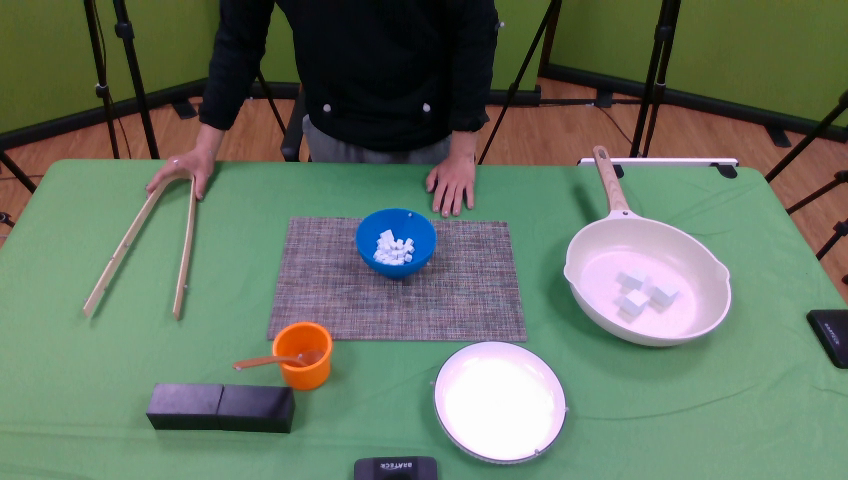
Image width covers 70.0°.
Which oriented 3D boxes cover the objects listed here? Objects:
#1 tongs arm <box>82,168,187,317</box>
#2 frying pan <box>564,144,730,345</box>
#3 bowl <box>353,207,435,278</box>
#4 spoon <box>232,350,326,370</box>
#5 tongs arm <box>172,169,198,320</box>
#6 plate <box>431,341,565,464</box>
[{"bbox_3d":[-0.540,-0.010,1.155,0.051,0.026,0.382,5,45,-1],"label":"tongs arm"},{"bbox_3d":[0.396,-0.008,1.179,0.307,0.103,0.484,0,55,-5],"label":"frying pan"},{"bbox_3d":[-0.056,0.018,1.132,0.151,0.077,0.150,2,46,-2],"label":"bowl"},{"bbox_3d":[-0.216,0.182,0.919,0.041,0.194,0.021,43,102,27],"label":"spoon"},{"bbox_3d":[-0.460,-0.006,1.162,0.028,0.028,0.385,-7,47,-7],"label":"tongs arm"},{"bbox_3d":[0.114,0.255,0.952,0.208,0.039,0.206,3,46,-2],"label":"plate"}]
